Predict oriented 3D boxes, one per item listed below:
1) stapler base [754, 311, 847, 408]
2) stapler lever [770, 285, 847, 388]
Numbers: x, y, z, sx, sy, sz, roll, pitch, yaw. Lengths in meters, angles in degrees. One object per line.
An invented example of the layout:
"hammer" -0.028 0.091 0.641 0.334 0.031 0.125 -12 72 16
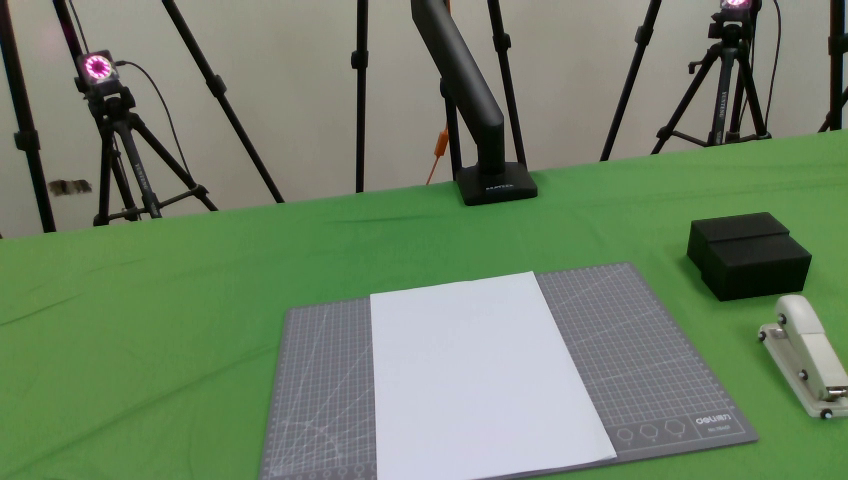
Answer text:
"stapler base" 0.375 0.109 0.603 0.041 0.024 0.129 -5 34 6
"stapler lever" 0.373 0.089 0.588 0.027 0.040 0.117 -5 34 6
